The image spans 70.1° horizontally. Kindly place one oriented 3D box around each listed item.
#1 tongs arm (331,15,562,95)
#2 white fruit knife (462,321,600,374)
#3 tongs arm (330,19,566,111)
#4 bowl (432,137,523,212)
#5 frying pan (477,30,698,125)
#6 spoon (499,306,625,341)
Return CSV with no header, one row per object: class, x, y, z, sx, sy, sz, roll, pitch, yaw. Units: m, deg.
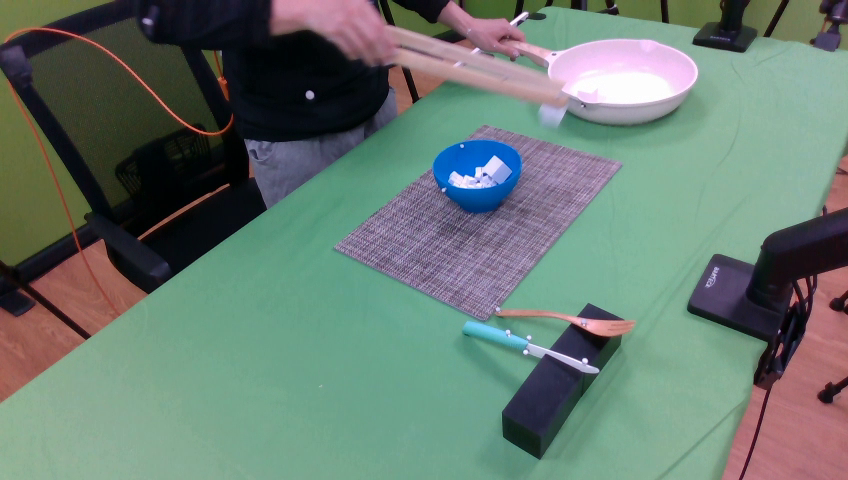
tongs arm,0.045,-0.294,0.974,0.389,0.028,0.028,13,51,-13
white fruit knife,0.126,0.132,0.752,0.205,0.027,0.016,12,48,42
tongs arm,0.044,-0.273,0.955,0.387,0.026,0.050,11,48,-15
bowl,0.091,-0.100,1.022,0.151,0.077,0.150,-4,41,4
frying pan,0.321,-0.371,1.290,0.484,0.103,0.308,29,51,24
spoon,0.169,0.102,0.773,0.042,0.021,0.192,-10,14,-38
